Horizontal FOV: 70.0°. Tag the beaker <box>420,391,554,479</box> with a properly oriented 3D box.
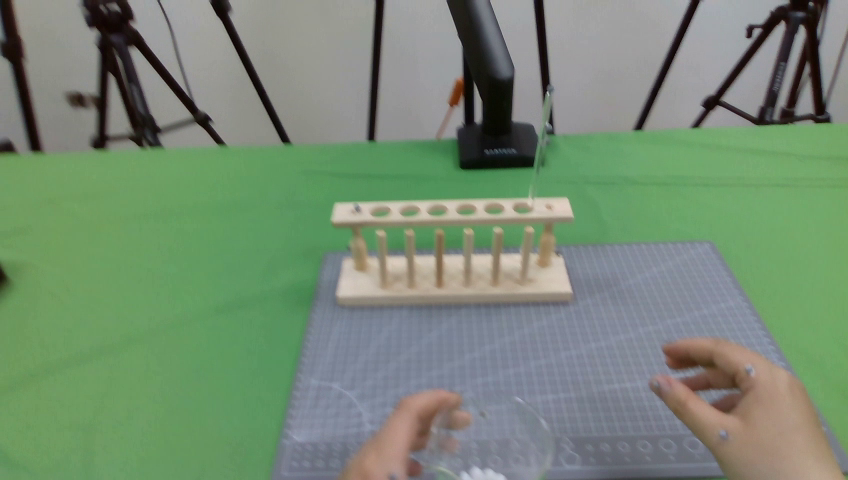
[{"bbox_3d":[0.037,0.162,0.398,0.084,0.101,0.073,-11,37,-17],"label":"beaker"}]

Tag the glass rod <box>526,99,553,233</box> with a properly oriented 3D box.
[{"bbox_3d":[0.110,-0.046,0.596,0.008,0.201,0.008,1,38,0],"label":"glass rod"}]

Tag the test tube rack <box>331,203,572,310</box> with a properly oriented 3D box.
[{"bbox_3d":[0.029,0.017,0.629,0.242,0.086,0.066,-1,36,2],"label":"test tube rack"}]
